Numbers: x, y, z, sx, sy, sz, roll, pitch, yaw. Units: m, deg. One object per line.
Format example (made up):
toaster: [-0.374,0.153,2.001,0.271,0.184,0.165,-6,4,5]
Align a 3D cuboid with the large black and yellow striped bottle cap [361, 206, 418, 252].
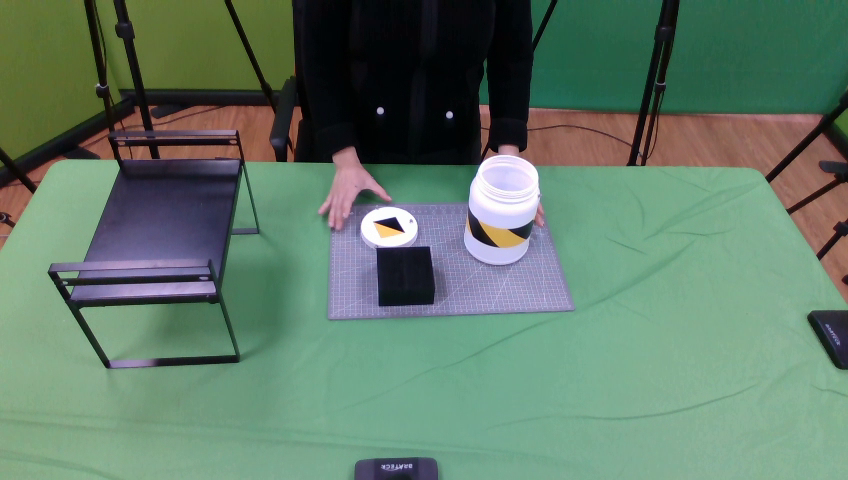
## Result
large black and yellow striped bottle cap: [-0.068,-0.023,1.214,0.115,0.019,0.114,1,47,-1]

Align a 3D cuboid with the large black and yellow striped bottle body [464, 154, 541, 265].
large black and yellow striped bottle body: [0.148,-0.058,1.145,0.131,0.185,0.130,2,46,-2]
